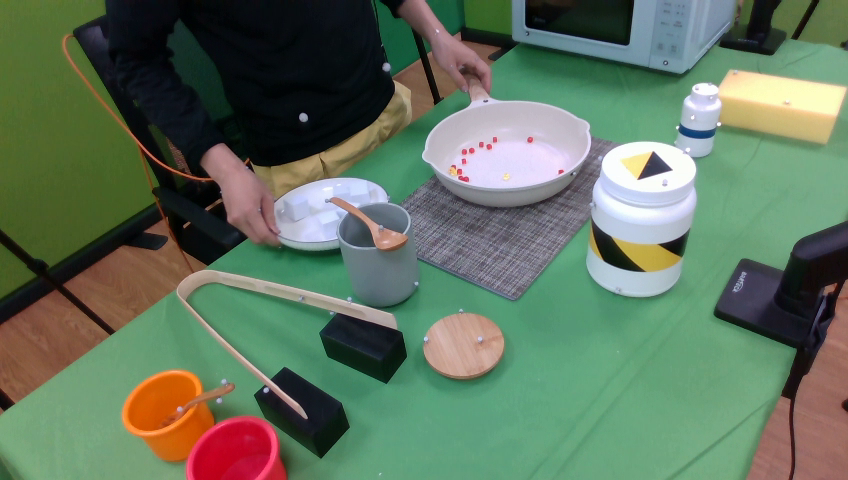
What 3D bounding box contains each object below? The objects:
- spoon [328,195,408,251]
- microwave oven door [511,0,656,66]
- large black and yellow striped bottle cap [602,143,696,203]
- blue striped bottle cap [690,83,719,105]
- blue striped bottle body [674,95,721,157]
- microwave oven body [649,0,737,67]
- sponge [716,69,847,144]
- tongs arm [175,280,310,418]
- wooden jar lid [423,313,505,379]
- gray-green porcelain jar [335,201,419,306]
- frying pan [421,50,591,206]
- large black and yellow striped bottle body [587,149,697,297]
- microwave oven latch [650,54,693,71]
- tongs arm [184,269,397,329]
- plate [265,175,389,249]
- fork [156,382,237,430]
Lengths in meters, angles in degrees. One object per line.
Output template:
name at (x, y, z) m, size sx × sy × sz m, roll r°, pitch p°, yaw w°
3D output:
spoon at (-0.083, -0.029, 0.829) m, size 0.042 × 0.022 × 0.192 m, roll -30°, pitch 42°, yaw -22°
microwave oven door at (0.351, -0.539, 1.349) m, size 0.353 × 0.245 × 0.039 m, roll 24°, pitch 50°, yaw 31°
large black and yellow striped bottle cap at (0.289, -0.088, 0.779) m, size 0.115 × 0.019 × 0.114 m, roll -5°, pitch 39°, yaw 4°
blue striped bottle cap at (0.481, -0.251, 1.038) m, size 0.044 × 0.021 × 0.044 m, roll -5°, pitch 40°, yaw 5°
blue striped bottle body at (0.486, -0.213, 1.071) m, size 0.063 × 0.121 × 0.063 m, roll -4°, pitch 41°, yaw 4°
microwave oven body at (0.475, -0.602, 1.411) m, size 0.438 × 0.261 × 0.327 m, roll 23°, pitch 50°, yaw 32°
sponge at (0.663, -0.256, 1.142) m, size 0.205 × 0.061 × 0.118 m, roll 19°, pitch 47°, yaw 28°
tongs arm at (-0.254, 0.133, 0.800) m, size 0.028 × 0.028 × 0.384 m, roll -41°, pitch 40°, yaw -23°
wooden jar lid at (0.053, 0.142, 0.800) m, size 0.108 × 0.021 × 0.108 m, roll -4°, pitch 39°, yaw 4°
gray-green porcelain jar at (-0.064, 0.024, 0.872) m, size 0.106 × 0.127 × 0.105 m, roll -4°, pitch 41°, yaw 4°
frying pan at (0.127, -0.233, 1.154) m, size 0.307 × 0.103 × 0.484 m, roll -11°, pitch 49°, yaw -5°
large black and yellow striped bottle body at (0.298, -0.026, 0.835) m, size 0.131 × 0.185 × 0.130 m, roll -4°, pitch 41°, yaw 4°
microwave oven latch at (0.531, -0.386, 1.301) m, size 0.078 × 0.029 × 0.030 m, roll 26°, pitch 51°, yaw 33°
tongs arm at (-0.203, 0.085, 0.846) m, size 0.382 × 0.027 × 0.051 m, roll 11°, pitch 45°, yaw 35°
plate at (-0.160, -0.044, 1.023) m, size 0.207 × 0.039 × 0.206 m, roll -4°, pitch 35°, yaw 3°
fork at (-0.262, 0.189, 0.690) m, size 0.018 × 0.206 × 0.028 m, roll 49°, pitch 43°, yaw -7°
